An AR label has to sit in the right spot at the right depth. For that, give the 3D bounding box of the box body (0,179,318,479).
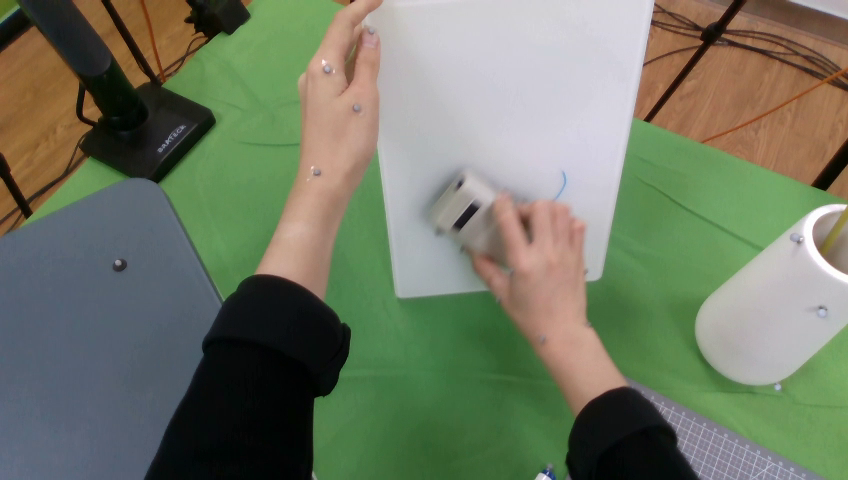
[{"bbox_3d":[-0.243,0.168,0.474,0.254,0.161,0.360,-30,65,-15],"label":"box body"}]

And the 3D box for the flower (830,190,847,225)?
[{"bbox_3d":[0.300,-0.008,0.450,0.044,0.365,0.038,20,45,16],"label":"flower"}]

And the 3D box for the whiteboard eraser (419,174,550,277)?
[{"bbox_3d":[0.055,-0.013,0.550,0.113,0.056,0.041,27,30,-25],"label":"whiteboard eraser"}]

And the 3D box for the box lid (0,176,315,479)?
[{"bbox_3d":[-0.246,0.129,0.410,0.263,0.015,0.368,-29,64,-15],"label":"box lid"}]

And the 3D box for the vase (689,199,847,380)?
[{"bbox_3d":[0.302,0.047,0.514,0.098,0.201,0.097,-1,59,1],"label":"vase"}]

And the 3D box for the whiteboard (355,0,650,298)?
[{"bbox_3d":[0.062,-0.110,0.580,0.217,0.308,0.142,-5,41,-1],"label":"whiteboard"}]

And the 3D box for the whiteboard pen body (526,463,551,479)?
[{"bbox_3d":[0.066,0.247,0.507,0.017,0.017,0.140,33,63,18],"label":"whiteboard pen body"}]
